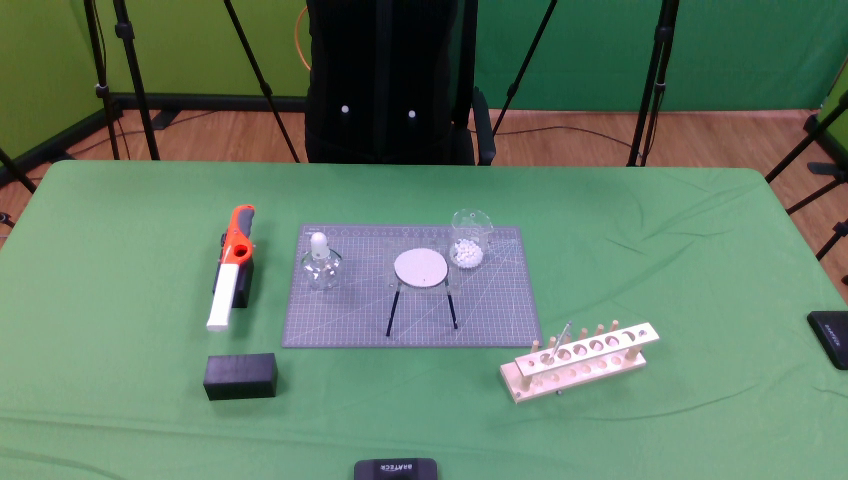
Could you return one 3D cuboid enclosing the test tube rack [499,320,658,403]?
[{"bbox_3d":[0.252,0.187,0.994,0.243,0.085,0.066,-12,48,-15],"label":"test tube rack"}]

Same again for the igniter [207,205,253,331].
[{"bbox_3d":[-0.339,0.038,1.066,0.057,0.025,0.274,2,48,-6],"label":"igniter"}]

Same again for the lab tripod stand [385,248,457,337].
[{"bbox_3d":[-0.010,0.087,1.032,0.148,0.132,0.147,1,45,-1],"label":"lab tripod stand"}]

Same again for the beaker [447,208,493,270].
[{"bbox_3d":[0.084,0.001,1.147,0.084,0.101,0.073,16,47,9],"label":"beaker"}]

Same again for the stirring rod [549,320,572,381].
[{"bbox_3d":[0.202,0.167,0.901,0.006,0.177,0.014,-16,54,-10],"label":"stirring rod"}]

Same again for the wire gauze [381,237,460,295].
[{"bbox_3d":[-0.008,0.040,0.984,0.125,0.011,0.120,0,44,-4],"label":"wire gauze"}]

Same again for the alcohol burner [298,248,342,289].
[{"bbox_3d":[-0.187,0.032,1.084,0.078,0.120,0.077,1,46,-1],"label":"alcohol burner"}]

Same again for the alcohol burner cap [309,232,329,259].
[{"bbox_3d":[-0.185,0.008,1.058,0.034,0.048,0.033,-1,43,1],"label":"alcohol burner cap"}]
